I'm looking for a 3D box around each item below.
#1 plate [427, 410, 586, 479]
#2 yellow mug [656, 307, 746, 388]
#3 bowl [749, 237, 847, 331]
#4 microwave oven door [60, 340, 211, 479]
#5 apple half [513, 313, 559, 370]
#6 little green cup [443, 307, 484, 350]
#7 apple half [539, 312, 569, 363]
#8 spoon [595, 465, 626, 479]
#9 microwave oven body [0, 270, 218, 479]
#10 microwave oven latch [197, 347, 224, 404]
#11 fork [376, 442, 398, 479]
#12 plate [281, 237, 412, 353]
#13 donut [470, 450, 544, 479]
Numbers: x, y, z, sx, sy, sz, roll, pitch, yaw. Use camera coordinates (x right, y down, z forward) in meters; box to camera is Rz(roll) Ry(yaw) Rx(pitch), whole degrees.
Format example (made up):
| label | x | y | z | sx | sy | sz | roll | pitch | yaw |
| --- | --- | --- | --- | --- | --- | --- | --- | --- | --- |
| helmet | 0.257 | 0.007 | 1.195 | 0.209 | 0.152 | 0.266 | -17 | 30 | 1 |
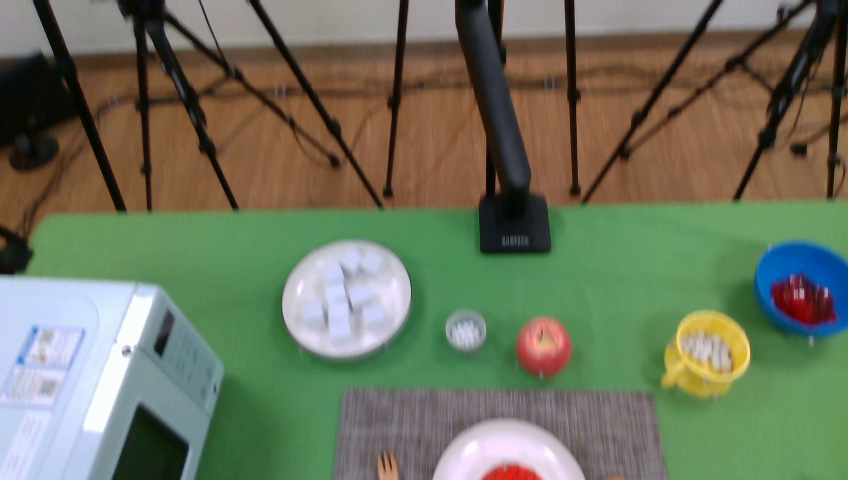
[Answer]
| label | x | y | z | sx | sy | sz | roll | pitch | yaw |
| --- | --- | --- | --- | --- | --- | --- | --- | --- | --- |
| plate | 0.107 | 0.328 | 0.789 | 0.209 | 0.038 | 0.207 | -2 | 56 | 3 |
| yellow mug | 0.387 | 0.162 | 0.871 | 0.131 | 0.064 | 0.099 | -27 | 59 | -13 |
| bowl | 0.558 | 0.078 | 0.909 | 0.151 | 0.077 | 0.150 | -2 | 56 | 3 |
| microwave oven door | -0.345 | 0.322 | 0.681 | 0.039 | 0.246 | 0.352 | 2 | 56 | 5 |
| apple half | 0.159 | 0.154 | 0.888 | 0.053 | 0.075 | 0.080 | -20 | 60 | -4 |
| little green cup | 0.061 | 0.137 | 0.926 | 0.061 | 0.039 | 0.061 | -2 | 56 | 3 |
| apple half | 0.195 | 0.141 | 0.892 | 0.033 | 0.082 | 0.080 | -19 | 57 | -4 |
| spoon | 0.226 | 0.377 | 0.765 | 0.041 | 0.022 | 0.192 | 14 | 58 | 11 |
| microwave oven body | -0.486 | 0.284 | 0.722 | 0.326 | 0.262 | 0.438 | 2 | 57 | 5 |
| microwave oven latch | -0.318 | 0.197 | 0.886 | 0.030 | 0.030 | 0.078 | 5 | 57 | 6 |
| fork | -0.036 | 0.362 | 0.788 | 0.028 | 0.019 | 0.205 | -5 | 55 | -12 |
| plate | -0.121 | 0.089 | 0.970 | 0.207 | 0.039 | 0.205 | -2 | 56 | 3 |
| donut | 0.108 | 0.322 | 0.780 | 0.099 | 0.048 | 0.098 | -2 | 58 | 4 |
